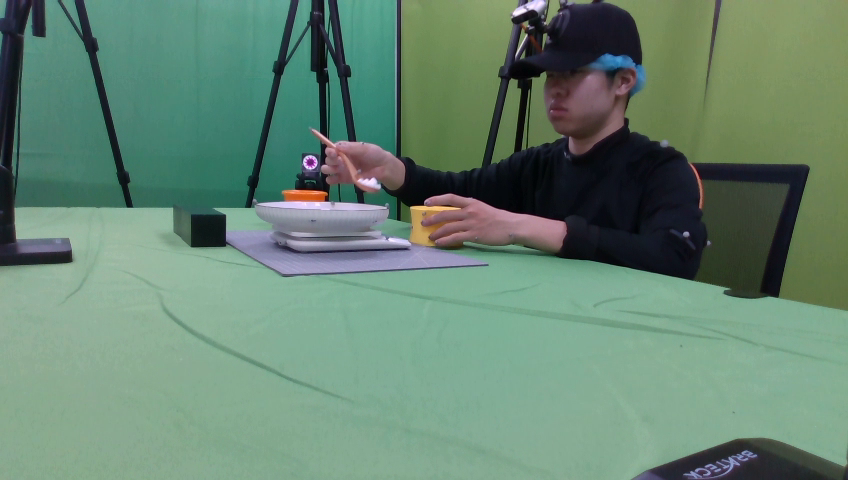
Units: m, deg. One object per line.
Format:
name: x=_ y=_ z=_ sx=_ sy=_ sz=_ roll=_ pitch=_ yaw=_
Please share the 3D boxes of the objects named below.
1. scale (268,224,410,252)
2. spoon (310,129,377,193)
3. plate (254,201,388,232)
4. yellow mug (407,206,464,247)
scale: x=-0.137 y=-0.006 z=0.980 sx=0.202 sy=0.031 sz=0.148 roll=-1 pitch=8 yaw=-30
spoon: x=-0.144 y=-0.139 z=1.052 sx=0.193 sy=0.021 sz=0.042 roll=50 pitch=22 yaw=27
plate: x=-0.161 y=-0.037 z=0.961 sx=0.209 sy=0.038 sz=0.209 roll=2 pitch=6 yaw=0
yellow mug: x=0.026 y=-0.027 z=1.104 sx=0.099 sy=0.064 sz=0.131 roll=7 pitch=7 yaw=20
